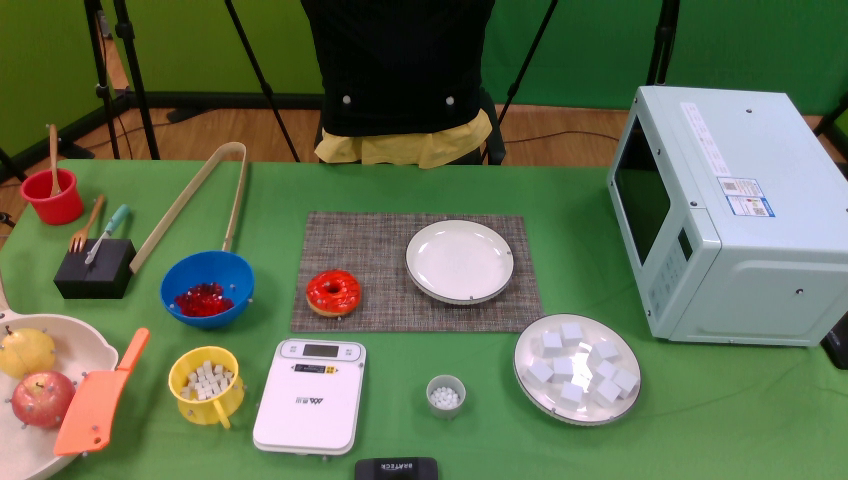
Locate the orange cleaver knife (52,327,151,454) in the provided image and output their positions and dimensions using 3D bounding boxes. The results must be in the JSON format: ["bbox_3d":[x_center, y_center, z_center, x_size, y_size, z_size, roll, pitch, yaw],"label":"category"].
[{"bbox_3d":[-0.462,0.212,0.879,0.077,0.012,0.210,6,45,-1],"label":"orange cleaver knife"}]

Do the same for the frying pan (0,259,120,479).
[{"bbox_3d":[-0.647,0.164,0.936,0.307,0.103,0.485,-19,58,-22],"label":"frying pan"}]

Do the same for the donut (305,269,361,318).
[{"bbox_3d":[-0.160,0.094,1.075,0.099,0.048,0.098,4,45,-3],"label":"donut"}]

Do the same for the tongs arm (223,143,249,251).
[{"bbox_3d":[-0.397,-0.073,1.232,0.051,0.026,0.382,-2,45,0],"label":"tongs arm"}]

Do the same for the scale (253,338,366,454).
[{"bbox_3d":[-0.175,0.236,0.951,0.149,0.032,0.199,4,45,-1],"label":"scale"}]

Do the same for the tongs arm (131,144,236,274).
[{"bbox_3d":[-0.483,-0.078,1.236,0.028,0.028,0.385,6,45,13],"label":"tongs arm"}]

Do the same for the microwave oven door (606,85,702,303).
[{"bbox_3d":[0.422,-0.094,1.140,0.039,0.245,0.353,2,46,-1],"label":"microwave oven door"}]

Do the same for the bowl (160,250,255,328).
[{"bbox_3d":[-0.362,0.097,1.039,0.151,0.077,0.150,2,45,-2],"label":"bowl"}]

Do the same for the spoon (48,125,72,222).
[{"bbox_3d":[-0.718,-0.131,1.189,0.041,0.021,0.193,-4,90,-7],"label":"spoon"}]

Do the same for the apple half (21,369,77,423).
[{"bbox_3d":[-0.546,0.226,0.898,0.080,0.075,0.053,30,48,27],"label":"apple half"}]

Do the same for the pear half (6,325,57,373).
[{"bbox_3d":[-0.607,0.158,0.935,0.076,0.110,0.056,31,51,19],"label":"pear half"}]

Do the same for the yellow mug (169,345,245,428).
[{"bbox_3d":[-0.322,0.230,0.922,0.100,0.064,0.130,-24,53,-25],"label":"yellow mug"}]

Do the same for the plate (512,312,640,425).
[{"bbox_3d":[0.246,0.213,0.999,0.208,0.039,0.206,2,46,-2],"label":"plate"}]

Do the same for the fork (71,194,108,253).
[{"bbox_3d":[-0.634,-0.036,1.158,0.028,0.019,0.206,-8,31,-8],"label":"fork"}]

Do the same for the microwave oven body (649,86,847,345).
[{"bbox_3d":[0.567,-0.053,1.118,0.326,0.261,0.439,2,45,-1],"label":"microwave oven body"}]

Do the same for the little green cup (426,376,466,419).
[{"bbox_3d":[0.033,0.248,0.950,0.061,0.039,0.061,2,46,-2],"label":"little green cup"}]

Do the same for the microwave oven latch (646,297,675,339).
[{"bbox_3d":[0.412,0.134,1.061,0.030,0.029,0.078,4,45,1],"label":"microwave oven latch"}]

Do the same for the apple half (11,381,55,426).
[{"bbox_3d":[-0.570,0.246,0.875,0.081,0.081,0.033,32,49,24],"label":"apple half"}]

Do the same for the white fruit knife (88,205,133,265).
[{"bbox_3d":[-0.583,-0.013,1.129,0.016,0.027,0.206,-2,32,-4],"label":"white fruit knife"}]

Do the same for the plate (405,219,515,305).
[{"bbox_3d":[0.067,0.044,1.144,0.209,0.038,0.208,2,46,-2],"label":"plate"}]

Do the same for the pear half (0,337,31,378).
[{"bbox_3d":[-0.631,0.183,0.923,0.070,0.088,0.031,28,50,14],"label":"pear half"}]
